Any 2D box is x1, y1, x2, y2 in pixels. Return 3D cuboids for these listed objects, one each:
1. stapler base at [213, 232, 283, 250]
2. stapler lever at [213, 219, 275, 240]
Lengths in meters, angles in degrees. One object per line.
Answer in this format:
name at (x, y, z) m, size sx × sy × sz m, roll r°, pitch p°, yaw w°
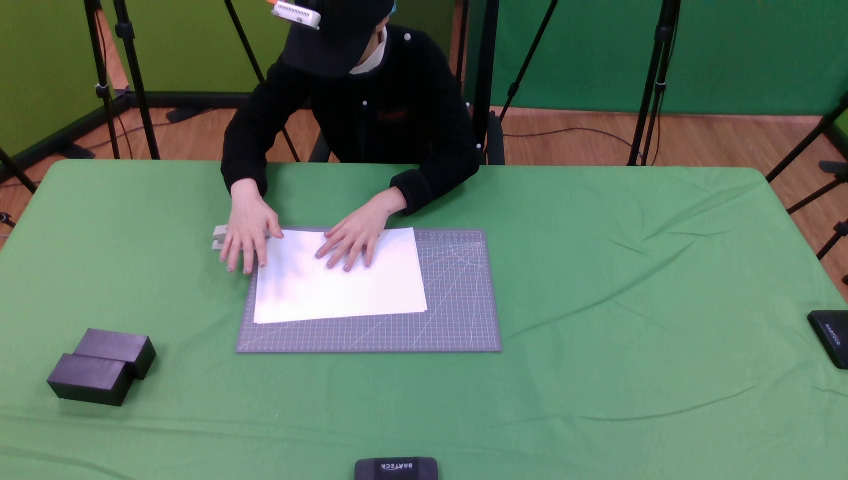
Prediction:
stapler base at (-0.341, -0.004, 1.170) m, size 0.130 × 0.024 × 0.041 m, roll -1°, pitch 44°, yaw 1°
stapler lever at (-0.343, -0.020, 1.152) m, size 0.118 × 0.040 × 0.026 m, roll 0°, pitch 44°, yaw 0°
